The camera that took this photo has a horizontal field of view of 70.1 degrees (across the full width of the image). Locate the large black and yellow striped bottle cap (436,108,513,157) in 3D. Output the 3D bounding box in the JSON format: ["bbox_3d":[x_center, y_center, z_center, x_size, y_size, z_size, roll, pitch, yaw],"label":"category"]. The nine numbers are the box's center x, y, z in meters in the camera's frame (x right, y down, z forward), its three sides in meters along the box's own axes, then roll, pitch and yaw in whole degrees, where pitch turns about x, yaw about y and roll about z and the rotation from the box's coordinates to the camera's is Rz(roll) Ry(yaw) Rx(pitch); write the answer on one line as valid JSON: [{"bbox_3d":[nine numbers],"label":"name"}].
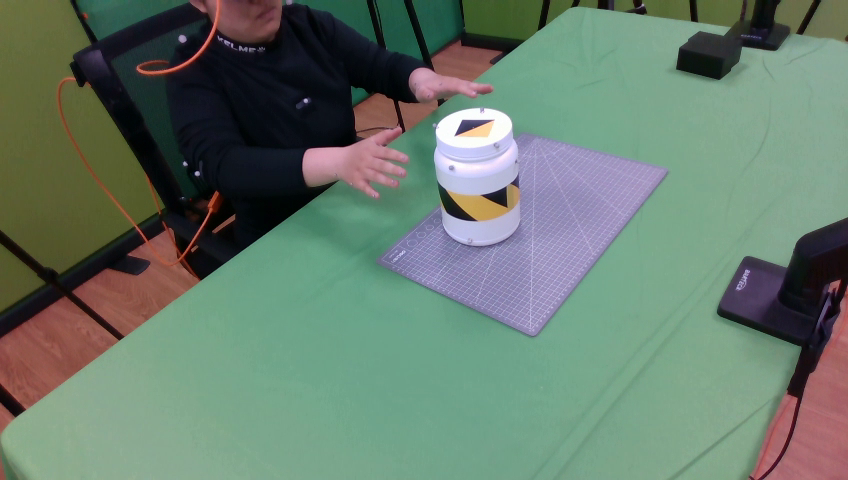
[{"bbox_3d":[0.075,-0.162,0.898,0.115,0.019,0.114,-5,41,5],"label":"large black and yellow striped bottle cap"}]

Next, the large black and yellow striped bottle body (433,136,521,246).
[{"bbox_3d":[0.085,-0.097,0.951,0.131,0.185,0.130,-5,40,5],"label":"large black and yellow striped bottle body"}]
